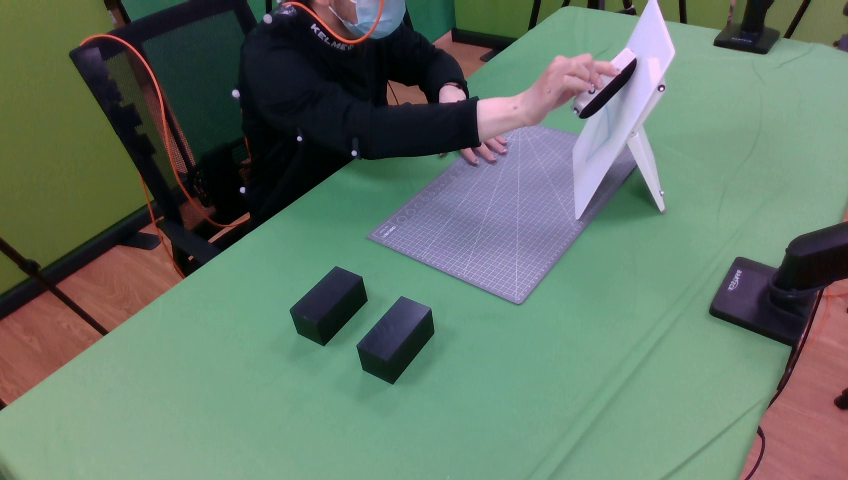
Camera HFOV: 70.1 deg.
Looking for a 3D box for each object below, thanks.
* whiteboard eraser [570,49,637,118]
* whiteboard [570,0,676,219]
[{"bbox_3d":[0.277,-0.236,0.925,0.042,0.056,0.112,44,92,7],"label":"whiteboard eraser"},{"bbox_3d":[0.364,-0.187,0.965,0.144,0.305,0.216,18,42,-3],"label":"whiteboard"}]
